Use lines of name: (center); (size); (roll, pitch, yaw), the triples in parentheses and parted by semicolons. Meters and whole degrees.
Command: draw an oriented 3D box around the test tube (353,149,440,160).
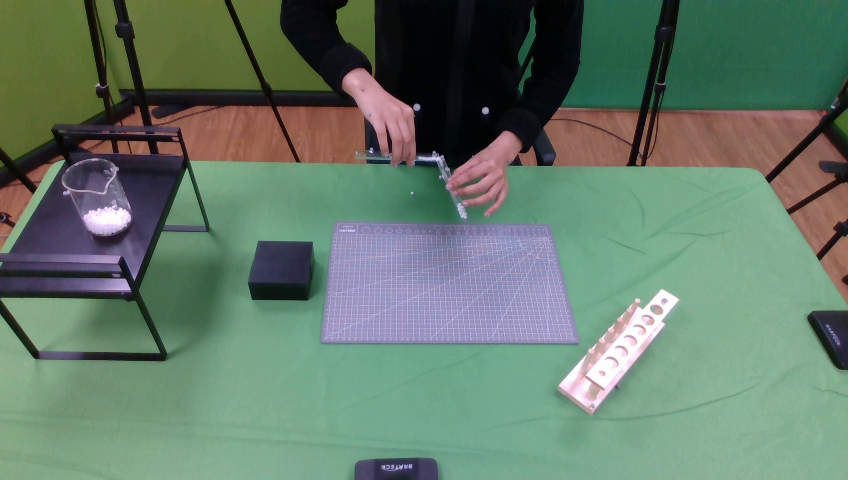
test tube: (-0.047, -0.146, 1.039); (0.151, 0.017, 0.017); (-1, 46, -12)

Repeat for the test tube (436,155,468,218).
test tube: (0.053, -0.094, 1.106); (0.017, 0.151, 0.017); (-15, 43, 14)

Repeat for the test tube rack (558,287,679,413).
test tube rack: (0.326, 0.170, 1.009); (0.066, 0.085, 0.242); (36, 54, 26)

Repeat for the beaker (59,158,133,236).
beaker: (-0.488, -0.060, 0.915); (0.074, 0.101, 0.083); (-35, 58, -31)
